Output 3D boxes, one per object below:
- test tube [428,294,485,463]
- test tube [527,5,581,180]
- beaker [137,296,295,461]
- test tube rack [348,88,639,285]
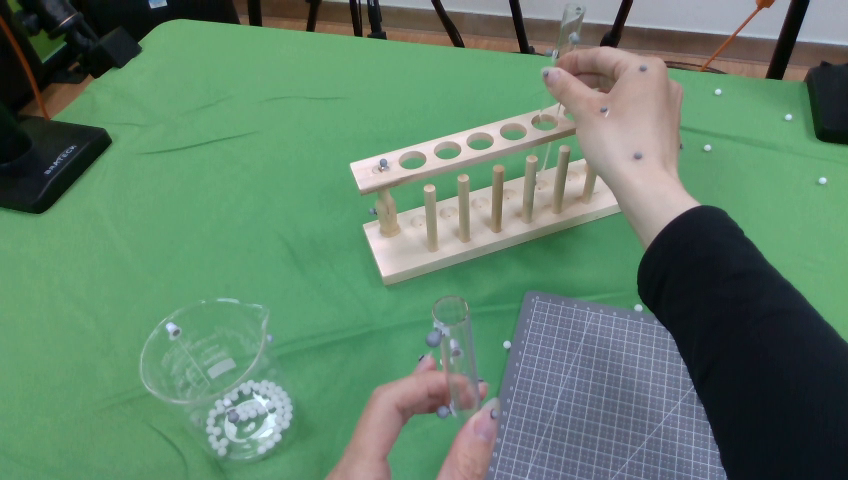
[{"bbox_3d":[0.018,0.075,0.295,0.017,0.152,0.017,-5,49,6],"label":"test tube"},{"bbox_3d":[0.102,-0.113,0.493,0.017,0.151,0.017,4,40,-3],"label":"test tube"},{"bbox_3d":[-0.128,0.094,0.401,0.073,0.101,0.084,35,59,29],"label":"beaker"},{"bbox_3d":[0.065,-0.047,0.516,0.243,0.086,0.066,-17,50,-10],"label":"test tube rack"}]
